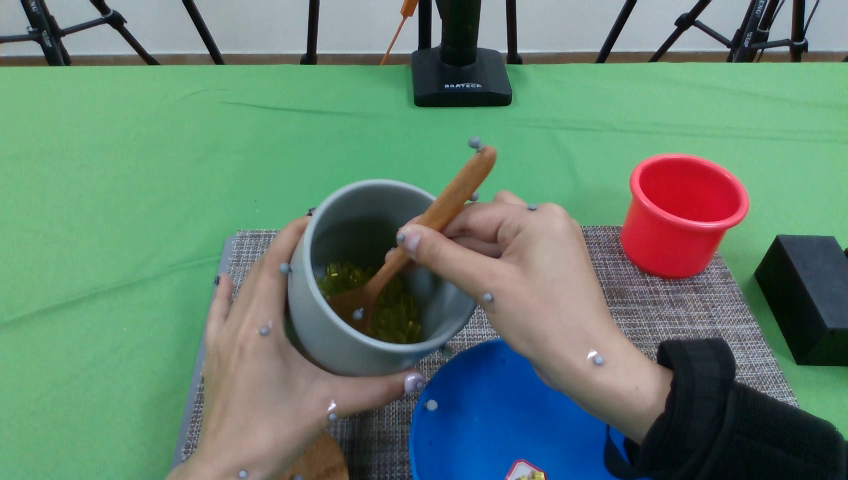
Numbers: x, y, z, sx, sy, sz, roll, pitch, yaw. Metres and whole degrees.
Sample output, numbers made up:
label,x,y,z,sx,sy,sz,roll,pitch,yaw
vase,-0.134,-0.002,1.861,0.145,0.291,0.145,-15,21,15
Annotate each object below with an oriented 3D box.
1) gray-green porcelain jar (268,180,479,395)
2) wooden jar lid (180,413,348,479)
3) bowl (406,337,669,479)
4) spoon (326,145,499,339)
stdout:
label,x,y,z,sx,sy,sz,roll,pitch,yaw
gray-green porcelain jar,-0.040,0.038,0.385,0.106,0.127,0.105,11,62,-20
wooden jar lid,-0.103,0.164,0.388,0.108,0.021,0.107,1,45,-1
bowl,0.064,0.144,0.375,0.151,0.077,0.150,1,46,-1
spoon,-0.019,0.020,0.350,0.042,0.194,0.021,39,32,-5
